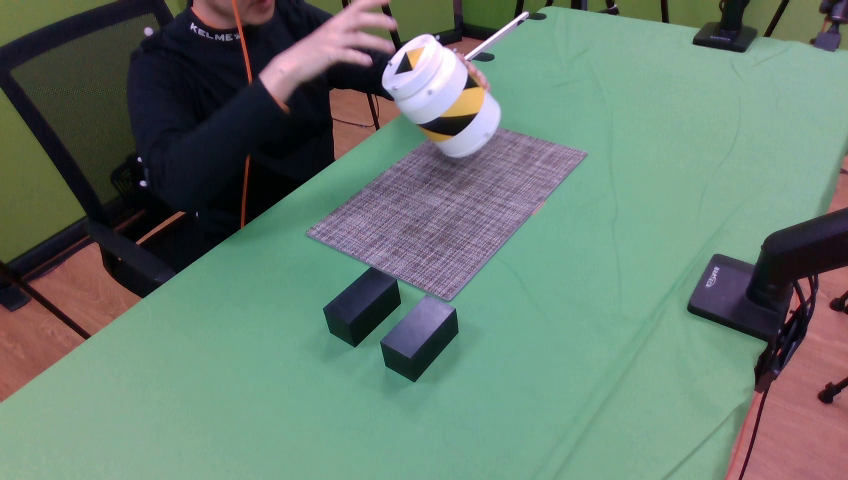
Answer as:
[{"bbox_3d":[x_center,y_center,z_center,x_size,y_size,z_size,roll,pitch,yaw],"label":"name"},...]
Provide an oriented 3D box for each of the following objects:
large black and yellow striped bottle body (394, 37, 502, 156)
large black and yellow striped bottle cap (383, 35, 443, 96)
[{"bbox_3d":[0.034,-0.246,1.041,0.130,0.185,0.130,-27,43,30],"label":"large black and yellow striped bottle body"},{"bbox_3d":[-0.019,-0.287,0.992,0.114,0.019,0.114,-26,44,29],"label":"large black and yellow striped bottle cap"}]
